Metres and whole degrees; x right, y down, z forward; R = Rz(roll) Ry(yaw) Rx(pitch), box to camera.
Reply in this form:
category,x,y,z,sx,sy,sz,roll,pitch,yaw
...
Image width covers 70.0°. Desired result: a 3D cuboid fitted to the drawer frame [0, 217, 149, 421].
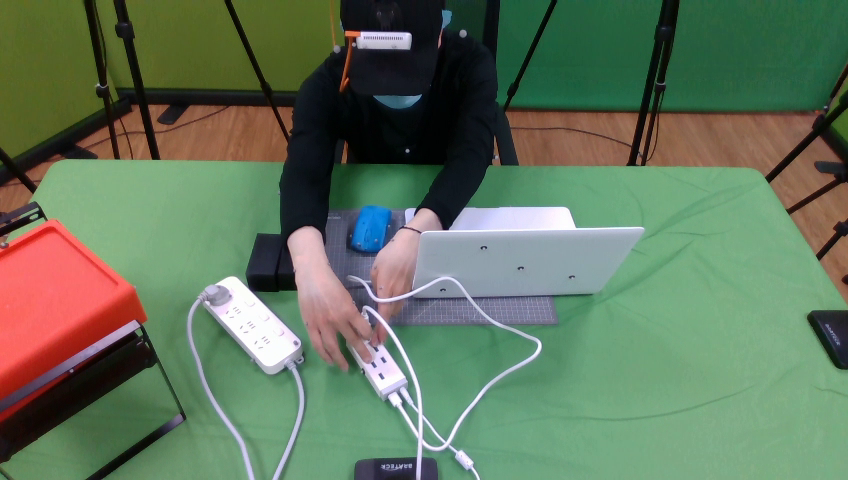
category,x,y,z,sx,sy,sz,roll,pitch,yaw
drawer frame,-0.510,0.093,0.780,0.201,0.083,0.213,31,52,23

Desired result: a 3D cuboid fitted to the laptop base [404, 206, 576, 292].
category,x,y,z,sx,sy,sz,roll,pitch,yaw
laptop base,0.143,0.018,1.196,0.355,0.023,0.234,-1,43,-6

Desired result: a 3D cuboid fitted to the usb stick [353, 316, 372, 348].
category,x,y,z,sx,sy,sz,roll,pitch,yaw
usb stick,-0.101,0.157,0.997,0.027,0.059,0.021,-23,41,-33

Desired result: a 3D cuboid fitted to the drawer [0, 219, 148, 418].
category,x,y,z,sx,sy,sz,roll,pitch,yaw
drawer,-0.509,0.093,0.783,0.193,0.073,0.211,32,53,24

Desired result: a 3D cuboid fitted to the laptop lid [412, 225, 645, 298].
category,x,y,z,sx,sy,sz,roll,pitch,yaw
laptop lid,0.161,0.042,1.012,0.357,0.242,0.013,0,59,-7

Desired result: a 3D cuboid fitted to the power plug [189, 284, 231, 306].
category,x,y,z,sx,sy,sz,roll,pitch,yaw
power plug,-0.368,0.100,1.037,0.072,0.053,0.035,-24,54,-26

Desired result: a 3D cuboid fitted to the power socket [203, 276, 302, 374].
category,x,y,z,sx,sy,sz,roll,pitch,yaw
power socket,-0.296,0.141,1.034,0.072,0.033,0.225,-34,58,-30

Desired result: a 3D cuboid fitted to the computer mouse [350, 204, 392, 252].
category,x,y,z,sx,sy,sz,roll,pitch,yaw
computer mouse,-0.104,-0.027,1.202,0.063,0.041,0.116,11,52,3

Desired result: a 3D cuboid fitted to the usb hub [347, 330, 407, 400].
category,x,y,z,sx,sy,sz,roll,pitch,yaw
usb hub,-0.078,0.202,0.998,0.049,0.025,0.124,-21,49,-24
